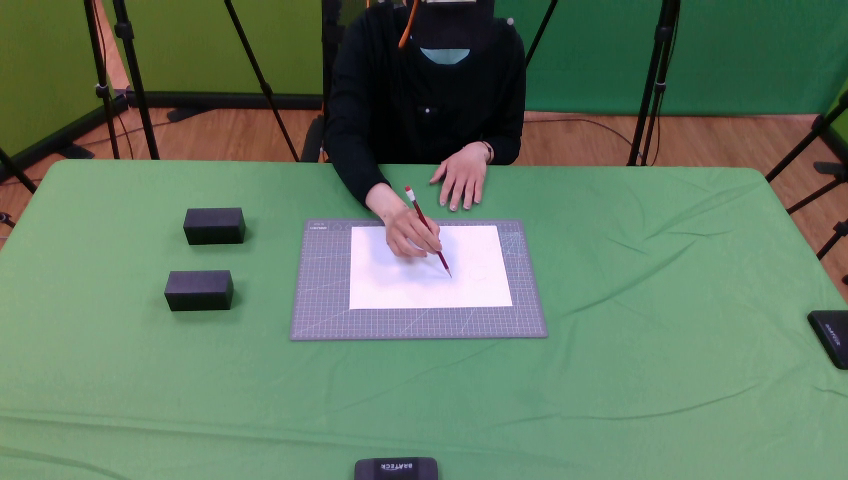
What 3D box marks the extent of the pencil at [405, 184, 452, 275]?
[{"bbox_3d":[0.011,-0.017,1.115,0.012,0.194,0.012,-25,15,7],"label":"pencil"}]
